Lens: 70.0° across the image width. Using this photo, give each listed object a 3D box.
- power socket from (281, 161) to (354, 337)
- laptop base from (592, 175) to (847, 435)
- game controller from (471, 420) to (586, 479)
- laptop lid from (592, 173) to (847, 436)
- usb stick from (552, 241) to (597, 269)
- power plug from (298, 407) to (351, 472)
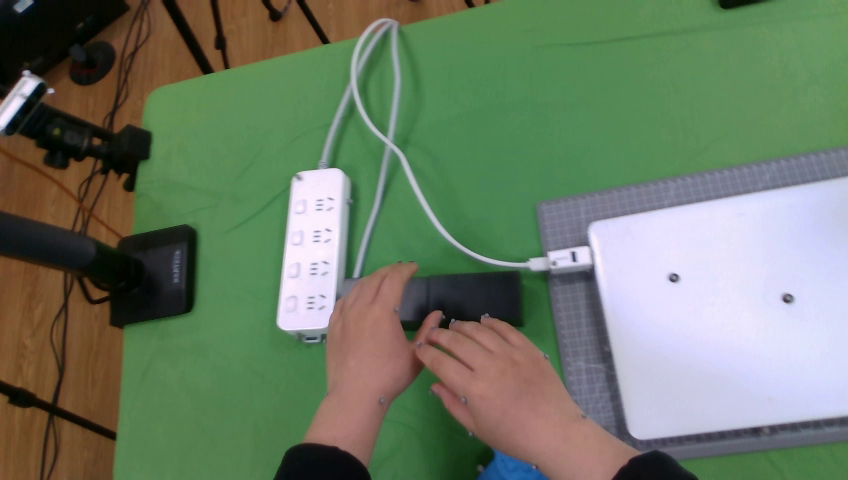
[{"bbox_3d":[-0.129,0.005,0.745,0.072,0.033,0.225,-3,69,13],"label":"power socket"},{"bbox_3d":[0.367,0.057,0.611,0.354,0.023,0.234,-10,72,10],"label":"laptop base"},{"bbox_3d":[0.078,0.254,0.599,0.155,0.052,0.096,-45,65,-5],"label":"game controller"},{"bbox_3d":[0.364,0.056,0.600,0.356,0.013,0.240,-8,71,11],"label":"laptop lid"},{"bbox_3d":[0.171,0.016,0.661,0.059,0.027,0.021,-7,70,7],"label":"usb stick"},{"bbox_3d":[-0.108,0.224,0.672,0.052,0.035,0.072,-13,25,35],"label":"power plug"}]
